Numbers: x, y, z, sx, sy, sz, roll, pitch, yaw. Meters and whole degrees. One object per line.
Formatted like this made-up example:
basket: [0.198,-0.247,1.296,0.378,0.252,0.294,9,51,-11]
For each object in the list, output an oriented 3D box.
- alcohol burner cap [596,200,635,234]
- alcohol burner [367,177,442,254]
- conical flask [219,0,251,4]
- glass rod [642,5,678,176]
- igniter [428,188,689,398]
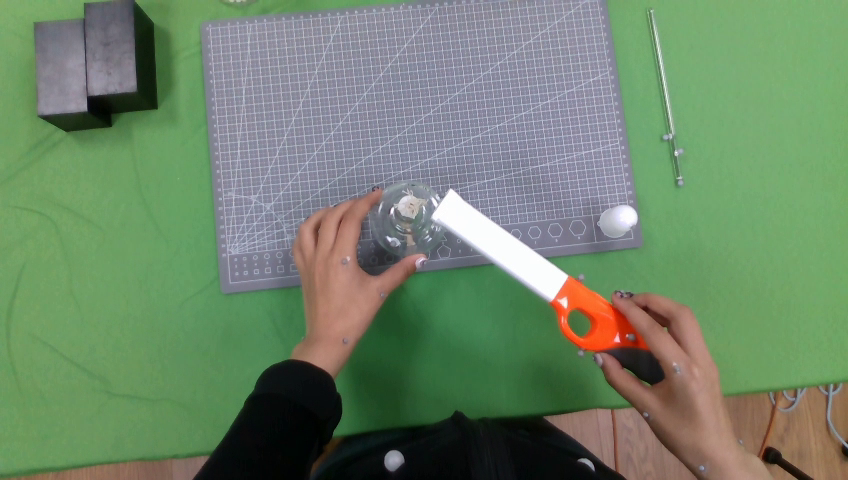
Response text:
alcohol burner cap: [0.203,-0.026,0.634,0.034,0.048,0.034,0,82,-2]
alcohol burner: [-0.018,-0.027,0.592,0.078,0.119,0.077,0,81,-2]
conical flask: [-0.208,-0.303,0.617,0.075,0.122,0.075,0,83,-1]
glass rod: [0.262,-0.168,0.672,0.008,0.008,0.199,-7,84,-3]
igniter: [0.122,0.048,0.530,0.277,0.025,0.057,36,82,-5]
